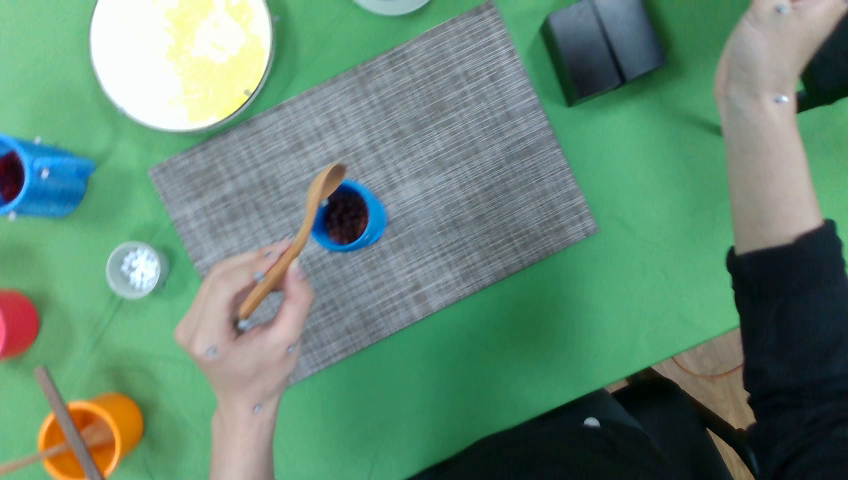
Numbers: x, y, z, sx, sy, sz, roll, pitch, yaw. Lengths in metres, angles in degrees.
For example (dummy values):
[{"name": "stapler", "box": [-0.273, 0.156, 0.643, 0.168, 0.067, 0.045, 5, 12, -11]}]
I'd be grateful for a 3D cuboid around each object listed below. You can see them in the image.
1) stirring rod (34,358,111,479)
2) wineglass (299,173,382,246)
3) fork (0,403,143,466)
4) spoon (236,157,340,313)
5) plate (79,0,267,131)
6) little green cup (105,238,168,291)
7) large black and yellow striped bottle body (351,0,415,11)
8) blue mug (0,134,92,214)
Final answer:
[{"name": "stirring rod", "box": [-0.376, 0.207, 0.656, 0.014, 0.006, 0.176, -27, 92, 2]}, {"name": "wineglass", "box": [-0.082, -0.030, 0.635, 0.074, 0.172, 0.073, 0, 91, 0]}, {"name": "fork", "box": [-0.416, 0.223, 0.659, 0.208, 0.018, 0.028, -14, 99, -43]}, {"name": "spoon", "box": [-0.097, -0.011, 0.458, 0.022, 0.192, 0.042, 24, 126, -9]}, {"name": "plate", "box": [-0.283, -0.228, 0.696, 0.209, 0.038, 0.209, 0, 93, -1]}, {"name": "little green cup", "box": [-0.332, 0.028, 0.706, 0.061, 0.038, 0.061, 0, 93, 0]}, {"name": "large black and yellow striped bottle body", "box": [-0.049, -0.329, 0.620, 0.131, 0.184, 0.131, 0, 92, 0]}, {"name": "blue mug", "box": [-0.431, -0.074, 0.668, 0.116, 0.106, 0.082, -13, 92, 0]}]
